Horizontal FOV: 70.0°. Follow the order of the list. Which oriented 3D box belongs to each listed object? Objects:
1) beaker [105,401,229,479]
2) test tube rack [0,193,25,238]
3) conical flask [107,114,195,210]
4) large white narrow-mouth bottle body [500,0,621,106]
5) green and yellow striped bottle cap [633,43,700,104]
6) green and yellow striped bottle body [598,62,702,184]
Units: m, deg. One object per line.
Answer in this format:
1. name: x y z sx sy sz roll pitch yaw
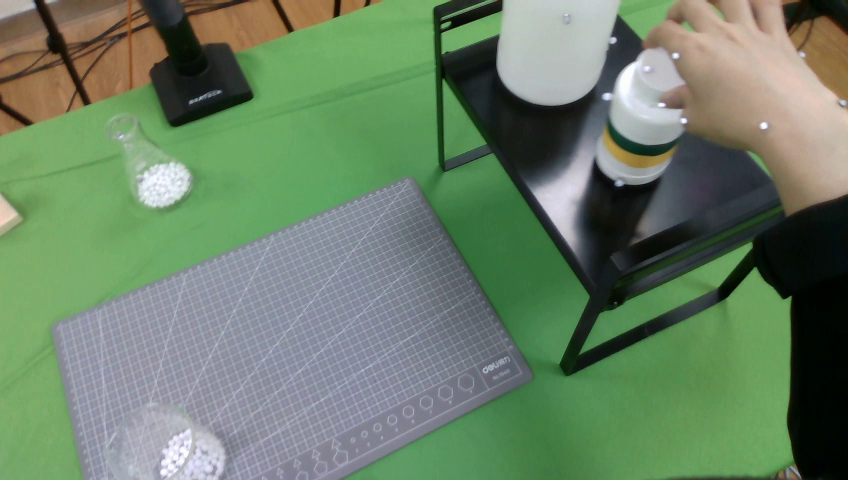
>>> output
1. beaker: -0.232 0.200 0.561 0.084 0.101 0.073 -6 60 -1
2. test tube rack: -0.604 0.014 0.688 0.066 0.086 0.242 38 68 21
3. conical flask: -0.330 -0.096 0.722 0.075 0.123 0.074 -1 60 2
4. large white narrow-mouth bottle body: 0.121 -0.215 0.527 0.102 0.196 0.101 -2 60 3
5. green and yellow striped bottle cap: 0.180 -0.123 0.448 0.045 0.020 0.045 -2 70 6
6. green and yellow striped bottle body: 0.184 -0.100 0.495 0.063 0.120 0.062 -2 66 5
